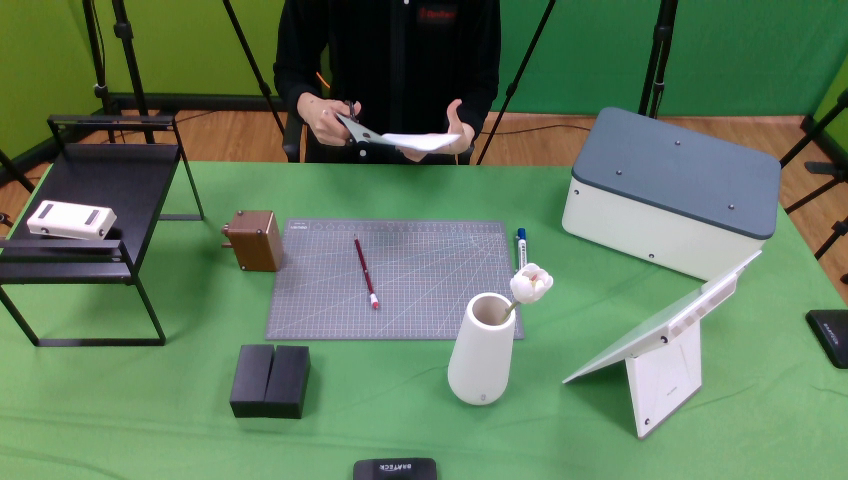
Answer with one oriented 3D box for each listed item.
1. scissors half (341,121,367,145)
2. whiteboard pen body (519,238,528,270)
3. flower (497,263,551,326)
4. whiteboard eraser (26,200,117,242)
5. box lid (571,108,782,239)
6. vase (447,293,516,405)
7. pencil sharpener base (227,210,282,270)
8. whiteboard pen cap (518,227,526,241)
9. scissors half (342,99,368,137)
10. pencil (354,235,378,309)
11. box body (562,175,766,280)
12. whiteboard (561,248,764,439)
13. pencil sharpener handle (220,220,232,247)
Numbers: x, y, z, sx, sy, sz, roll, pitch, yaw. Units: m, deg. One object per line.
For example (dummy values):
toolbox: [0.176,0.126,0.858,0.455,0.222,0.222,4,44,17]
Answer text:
scissors half: [-0.119,-0.184,1.034,0.013,0.040,0.174,-1,6,-19]
whiteboard pen body: [0.193,0.035,1.180,0.017,0.017,0.140,6,48,1]
flower: [0.102,0.121,0.853,0.044,0.363,0.038,-2,64,-10]
whiteboard eraser: [-0.532,-0.026,0.919,0.113,0.042,0.055,7,45,3]
box lid: [0.491,-0.139,1.168,0.370,0.015,0.262,21,49,15]
vase: [0.091,0.168,0.921,0.098,0.201,0.097,3,47,-3]
pencil sharpener base: [-0.311,0.001,1.112,0.077,0.107,0.061,1,47,1]
whiteboard pen cap: [0.197,-0.009,1.220,0.018,0.018,0.033,6,51,1]
scissors half: [-0.117,-0.204,1.028,0.013,0.040,0.174,-6,31,-18]
pencil: [-0.113,0.055,1.143,0.012,0.012,0.192,-10,46,-13]
box body: [0.486,-0.088,1.222,0.363,0.161,0.253,20,48,15]
whiteboard: [0.386,0.176,0.905,0.217,0.306,0.143,-26,72,-27]
pencil sharpener handle: [-0.362,-0.009,1.105,0.030,0.068,0.036,1,52,1]
